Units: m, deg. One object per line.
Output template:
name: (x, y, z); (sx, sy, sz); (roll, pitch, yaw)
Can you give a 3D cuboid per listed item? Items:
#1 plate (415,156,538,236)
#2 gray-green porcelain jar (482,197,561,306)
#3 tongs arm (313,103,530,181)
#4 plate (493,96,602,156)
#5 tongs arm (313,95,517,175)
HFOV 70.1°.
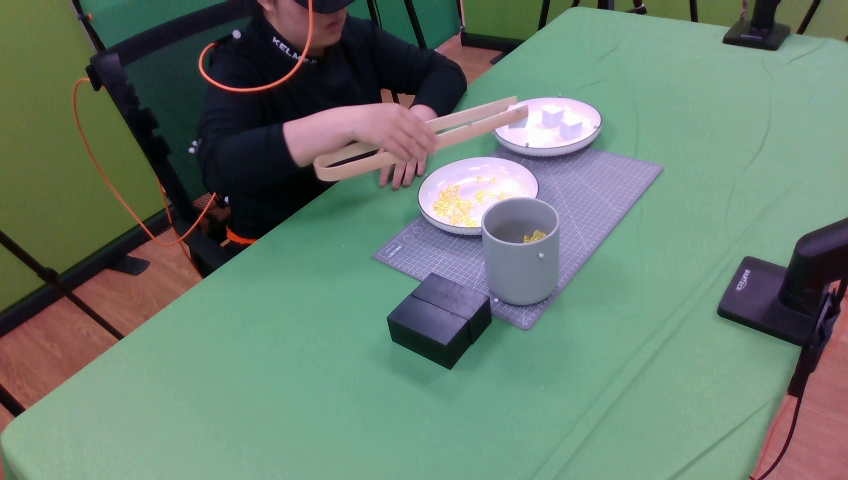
plate: (0.090, -0.072, 1.034); (0.207, 0.039, 0.206); (-5, 40, 5)
gray-green porcelain jar: (0.138, 0.020, 0.846); (0.106, 0.127, 0.105); (-5, 40, 5)
tongs arm: (0.003, -0.171, 1.020); (0.386, 0.026, 0.050); (-22, 41, -17)
plate: (0.238, -0.218, 1.179); (0.209, 0.038, 0.208); (-4, 39, 4)
tongs arm: (-0.008, -0.186, 1.041); (0.389, 0.028, 0.028); (-20, 44, -15)
